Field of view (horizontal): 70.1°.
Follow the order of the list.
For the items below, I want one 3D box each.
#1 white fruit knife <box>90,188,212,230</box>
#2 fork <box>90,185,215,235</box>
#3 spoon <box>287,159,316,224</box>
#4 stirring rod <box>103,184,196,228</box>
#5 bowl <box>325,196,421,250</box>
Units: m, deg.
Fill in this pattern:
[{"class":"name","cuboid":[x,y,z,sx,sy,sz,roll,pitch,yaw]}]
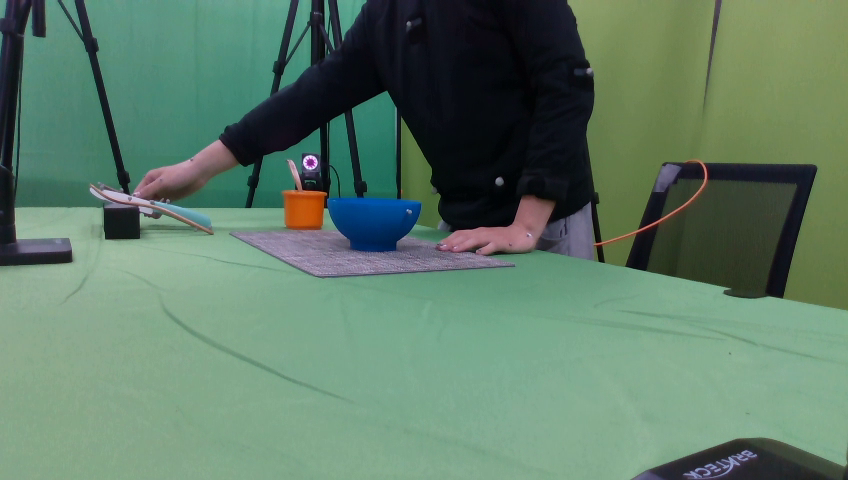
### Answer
[{"class":"white fruit knife","cuboid":[-0.478,-0.058,1.073,0.208,0.027,0.016,17,-5,-30]},{"class":"fork","cuboid":[-0.452,-0.049,1.018,0.208,0.018,0.028,21,-8,-33]},{"class":"spoon","cuboid":[-0.261,-0.104,1.264,0.042,0.193,0.021,-1,-37,-28]},{"class":"stirring rod","cuboid":[-0.509,-0.062,1.128,0.177,0.006,0.014,28,-4,-31]},{"class":"bowl","cuboid":[-0.080,-0.027,0.957,0.151,0.077,0.151,2,7,0]}]
